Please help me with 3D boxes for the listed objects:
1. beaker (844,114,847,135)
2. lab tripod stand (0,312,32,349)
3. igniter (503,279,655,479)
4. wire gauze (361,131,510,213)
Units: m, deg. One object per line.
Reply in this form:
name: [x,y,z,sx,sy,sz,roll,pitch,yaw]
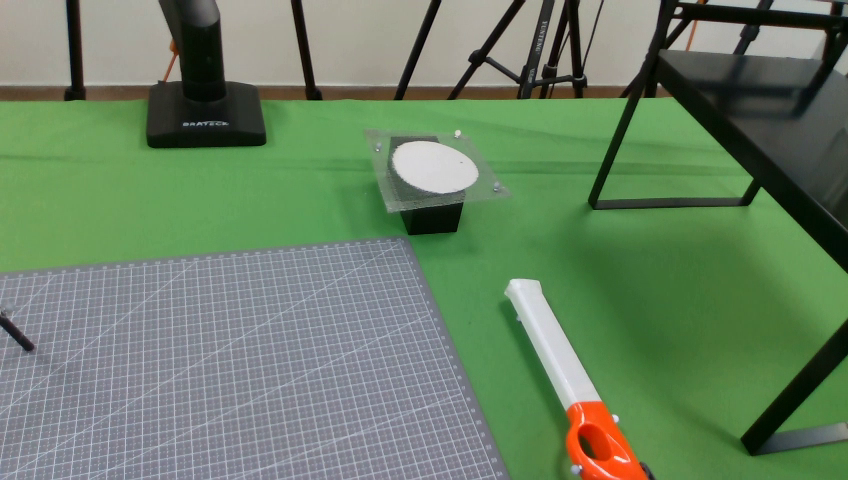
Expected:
beaker: [0.377,-0.115,0.457,0.084,0.101,0.073,-8,44,-19]
lab tripod stand: [-0.303,0.066,0.337,0.149,0.132,0.147,8,41,-7]
igniter: [0.120,0.132,0.447,0.057,0.025,0.273,5,40,-24]
wire gauze: [0.008,-0.071,0.593,0.122,0.011,0.123,-4,43,-19]
